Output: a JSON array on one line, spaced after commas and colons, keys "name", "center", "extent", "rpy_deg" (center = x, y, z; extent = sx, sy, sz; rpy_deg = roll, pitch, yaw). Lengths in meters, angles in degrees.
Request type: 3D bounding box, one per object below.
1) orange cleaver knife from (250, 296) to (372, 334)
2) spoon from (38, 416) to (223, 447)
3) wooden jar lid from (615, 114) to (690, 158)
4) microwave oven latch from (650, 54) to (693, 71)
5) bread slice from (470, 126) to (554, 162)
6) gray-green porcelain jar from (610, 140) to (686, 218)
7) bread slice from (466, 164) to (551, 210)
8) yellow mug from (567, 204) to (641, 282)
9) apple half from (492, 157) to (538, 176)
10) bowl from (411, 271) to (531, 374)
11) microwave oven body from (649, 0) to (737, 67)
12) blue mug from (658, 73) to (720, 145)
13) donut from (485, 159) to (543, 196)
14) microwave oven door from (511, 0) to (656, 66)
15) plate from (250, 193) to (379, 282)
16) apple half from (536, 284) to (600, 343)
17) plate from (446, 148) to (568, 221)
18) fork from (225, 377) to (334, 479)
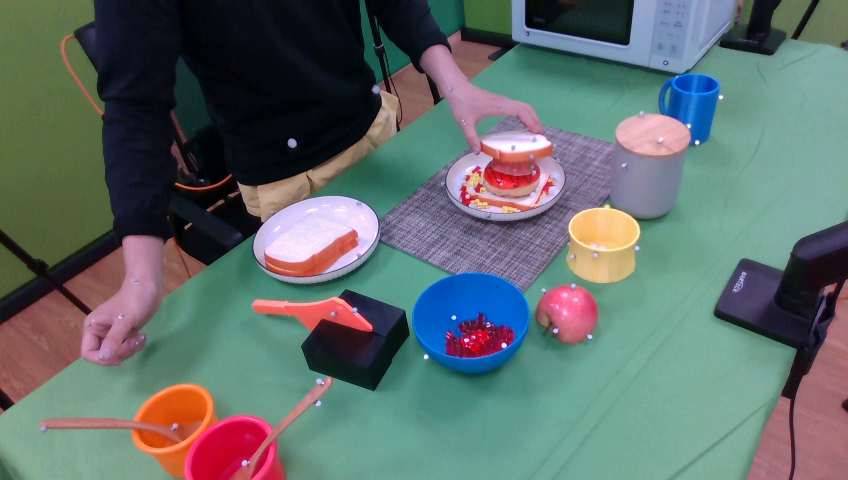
[{"name": "orange cleaver knife", "center": [-0.158, 0.103, 0.828], "extent": [0.210, 0.078, 0.012], "rpy_deg": [-4, 43, 39]}, {"name": "spoon", "center": [-0.320, 0.209, 0.677], "extent": [0.021, 0.195, 0.041], "rpy_deg": [-53, 41, 16]}, {"name": "wooden jar lid", "center": [0.347, -0.155, 0.923], "extent": [0.108, 0.021, 0.108], "rpy_deg": [-3, 44, 4]}, {"name": "microwave oven latch", "center": [0.531, -0.386, 1.301], "extent": [0.078, 0.029, 0.030], "rpy_deg": [26, 51, 33]}, {"name": "bread slice", "center": [0.148, -0.156, 0.977], "extent": [0.105, 0.019, 0.130], "rpy_deg": [-13, 28, -17]}, {"name": "gray-green porcelain jar", "center": [0.354, -0.106, 0.964], "extent": [0.106, 0.127, 0.105], "rpy_deg": [-4, 41, 4]}, {"name": "bread slice", "center": [0.141, -0.092, 1.042], "extent": [0.133, 0.018, 0.107], "rpy_deg": [9, 44, 20]}, {"name": "yellow mug", "center": [0.268, -0.005, 0.905], "extent": [0.099, 0.064, 0.130], "rpy_deg": [6, 42, 16]}, {"name": "apple half", "center": [0.150, -0.140, 0.996], "extent": [0.081, 0.033, 0.081], "rpy_deg": [0, 39, 0]}, {"name": "bowl", "center": [0.062, 0.119, 0.780], "extent": [0.151, 0.077, 0.150], "rpy_deg": [-4, 40, 4]}, {"name": "microwave oven body", "center": [0.475, -0.602, 1.411], "extent": [0.438, 0.261, 0.327], "rpy_deg": [23, 50, 32]}, {"name": "blue mug", "center": [0.483, -0.250, 1.127], "extent": [0.082, 0.106, 0.115], "rpy_deg": [-26, 44, -19]}, {"name": "donut", "center": [0.151, -0.112, 1.019], "extent": [0.099, 0.048, 0.098], "rpy_deg": [-4, 40, 4]}, {"name": "microwave oven door", "center": [0.350, -0.539, 1.348], "extent": [0.353, 0.245, 0.039], "rpy_deg": [24, 50, 31]}, {"name": "plate", "center": [-0.174, -0.001, 0.984], "extent": [0.209, 0.038, 0.208], "rpy_deg": [-4, 40, 4]}, {"name": "apple half", "center": [0.196, 0.091, 0.815], "extent": [0.075, 0.053, 0.080], "rpy_deg": [-22, 42, -20]}, {"name": "plate", "center": [0.143, -0.097, 1.045], "extent": [0.207, 0.039, 0.206], "rpy_deg": [-4, 40, 4]}, {"name": "fork", "center": [-0.163, 0.216, 0.646], "extent": [0.207, 0.019, 0.028], "rpy_deg": [-49, 42, 16]}]
